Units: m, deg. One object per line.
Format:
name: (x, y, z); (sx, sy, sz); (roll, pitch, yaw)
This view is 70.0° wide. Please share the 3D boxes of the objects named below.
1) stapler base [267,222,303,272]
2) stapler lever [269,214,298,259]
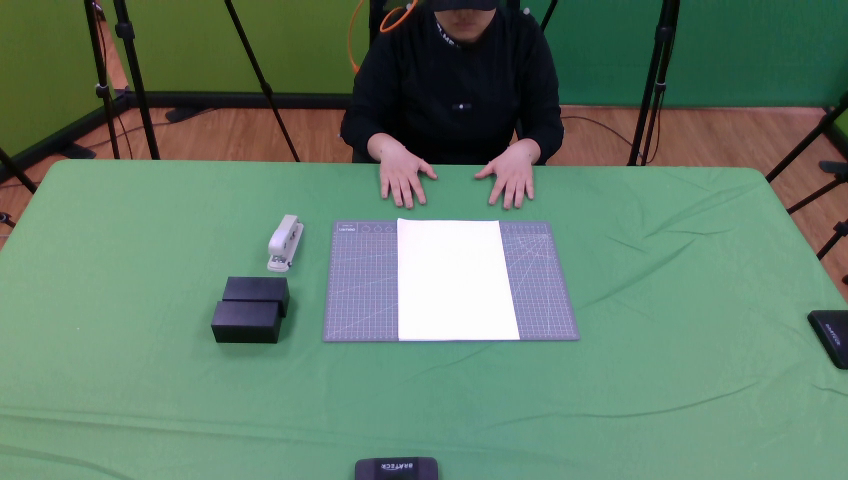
stapler base: (-0.269, 0.005, 1.170); (0.041, 0.024, 0.130); (8, 44, 0)
stapler lever: (-0.268, -0.014, 1.154); (0.027, 0.040, 0.117); (7, 44, 0)
